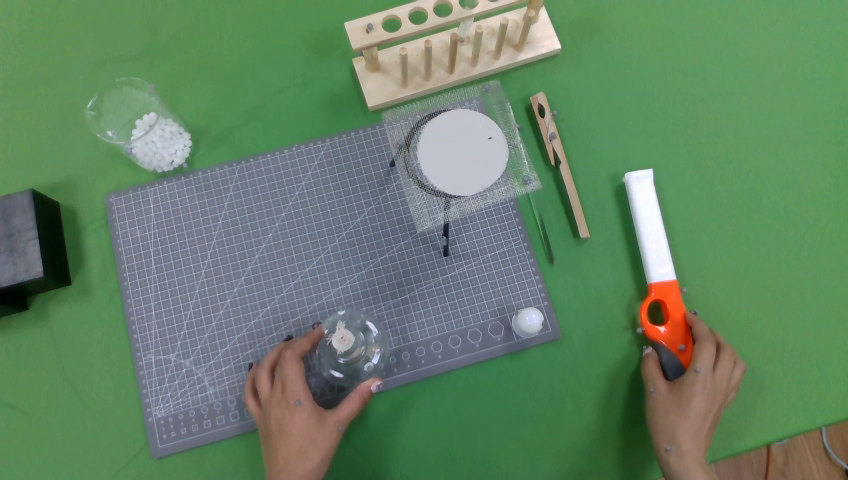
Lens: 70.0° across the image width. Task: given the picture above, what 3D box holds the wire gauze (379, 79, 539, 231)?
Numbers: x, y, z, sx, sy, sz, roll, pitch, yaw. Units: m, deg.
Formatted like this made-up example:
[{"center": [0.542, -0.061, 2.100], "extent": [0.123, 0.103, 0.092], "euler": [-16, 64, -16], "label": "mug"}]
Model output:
[{"center": [0.031, -0.084, 0.565], "extent": [0.121, 0.011, 0.124], "euler": [-18, 77, -3], "label": "wire gauze"}]

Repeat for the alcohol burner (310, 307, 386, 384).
[{"center": [-0.078, 0.102, 0.601], "extent": [0.078, 0.119, 0.077], "euler": [0, 75, 1], "label": "alcohol burner"}]

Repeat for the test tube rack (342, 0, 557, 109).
[{"center": [0.036, -0.232, 0.695], "extent": [0.242, 0.085, 0.066], "euler": [-18, 77, -4], "label": "test tube rack"}]

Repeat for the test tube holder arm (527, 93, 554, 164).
[{"center": [0.140, -0.131, 0.708], "extent": [0.010, 0.015, 0.087], "euler": [-23, 77, 29], "label": "test tube holder arm"}]

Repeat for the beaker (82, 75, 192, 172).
[{"center": [-0.307, -0.122, 0.661], "extent": [0.084, 0.100, 0.073], "euler": [2, 76, 1], "label": "beaker"}]

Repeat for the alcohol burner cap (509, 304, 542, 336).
[{"center": [0.109, 0.083, 0.643], "extent": [0.034, 0.048, 0.033], "euler": [0, 76, -1], "label": "alcohol burner cap"}]

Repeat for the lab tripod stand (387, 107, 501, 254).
[{"center": [0.019, -0.070, 0.631], "extent": [0.148, 0.132, 0.147], "euler": [0, 78, 2], "label": "lab tripod stand"}]

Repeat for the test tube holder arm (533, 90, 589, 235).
[{"center": [0.157, -0.090, 0.697], "extent": [0.013, 0.015, 0.177], "euler": [-24, 77, 29], "label": "test tube holder arm"}]

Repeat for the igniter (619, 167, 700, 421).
[{"center": [0.255, 0.054, 0.658], "extent": [0.057, 0.025, 0.275], "euler": [-8, 77, 2], "label": "igniter"}]

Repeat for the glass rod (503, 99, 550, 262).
[{"center": [0.118, -0.070, 0.699], "extent": [0.008, 0.008, 0.199], "euler": [-13, 81, -4], "label": "glass rod"}]

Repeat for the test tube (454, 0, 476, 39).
[{"center": [0.050, -0.264, 0.652], "extent": [0.017, 0.151, 0.017], "euler": [2, 74, -5], "label": "test tube"}]
